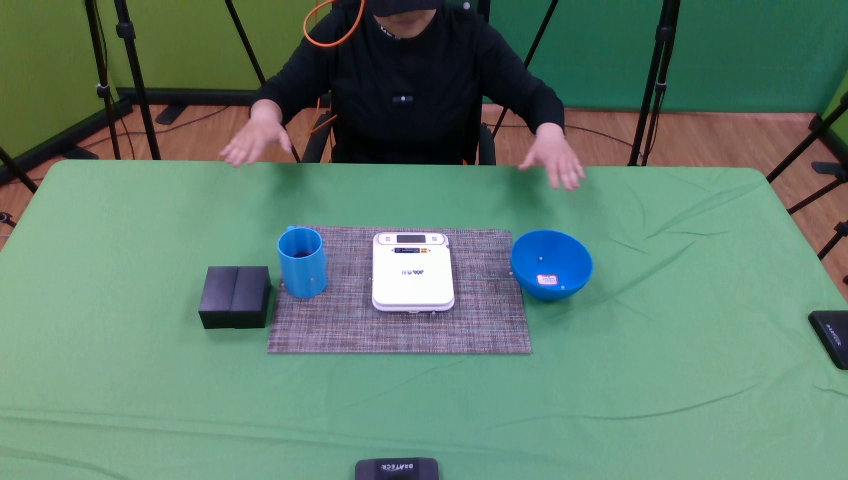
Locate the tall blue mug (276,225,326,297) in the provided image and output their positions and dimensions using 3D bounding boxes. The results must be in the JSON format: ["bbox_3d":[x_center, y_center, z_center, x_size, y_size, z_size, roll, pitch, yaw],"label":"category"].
[{"bbox_3d":[-0.228,0.032,1.083,0.107,0.108,0.077,30,52,23],"label":"tall blue mug"}]

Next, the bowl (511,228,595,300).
[{"bbox_3d":[0.230,0.058,1.118,0.151,0.077,0.150,2,46,-2],"label":"bowl"}]

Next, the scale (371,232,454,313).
[{"bbox_3d":[-0.023,0.050,1.134,0.149,0.032,0.199,1,46,-4],"label":"scale"}]
